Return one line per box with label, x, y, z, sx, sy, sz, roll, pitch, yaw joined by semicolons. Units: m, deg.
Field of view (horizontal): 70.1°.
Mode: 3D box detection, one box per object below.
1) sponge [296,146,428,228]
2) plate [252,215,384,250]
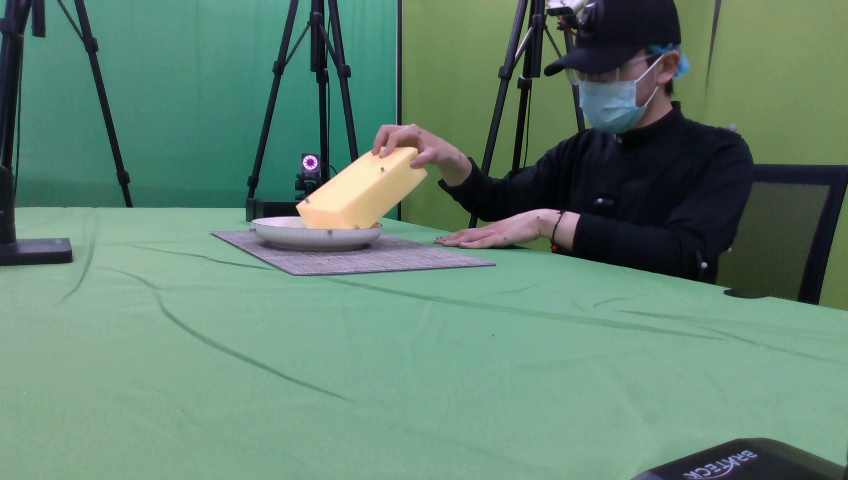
sponge;-0.105;-0.087;1.049;0.117;0.061;0.207;7;40;43
plate;-0.169;-0.012;0.976;0.208;0.039;0.207;2;7;0
